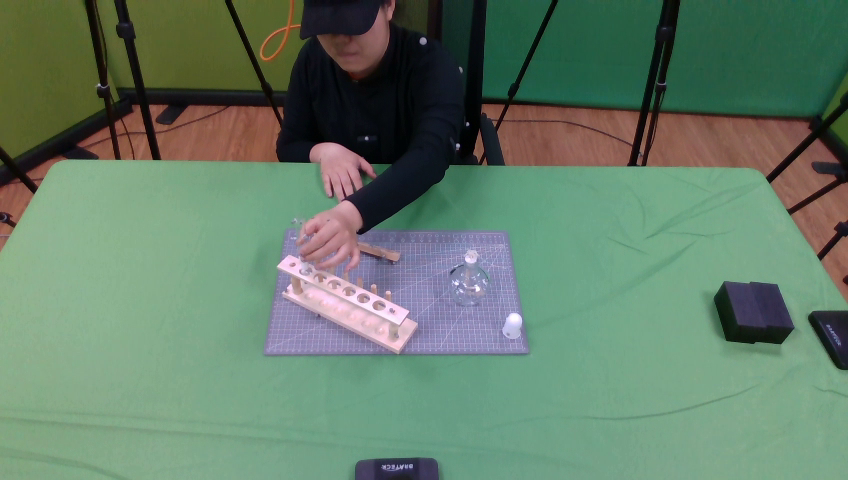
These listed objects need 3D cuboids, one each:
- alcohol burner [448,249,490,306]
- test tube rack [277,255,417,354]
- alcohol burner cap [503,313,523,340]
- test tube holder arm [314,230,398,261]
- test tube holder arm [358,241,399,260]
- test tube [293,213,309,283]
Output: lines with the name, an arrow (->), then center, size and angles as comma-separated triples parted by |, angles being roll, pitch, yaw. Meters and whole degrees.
alcohol burner -> 0.081, 0.062, 1.078 | 0.078, 0.120, 0.077 | 1, 45, -1
test tube rack -> -0.132, 0.099, 1.045 | 0.241, 0.085, 0.066 | 23, 49, 17
alcohol burner cap -> 0.155, 0.147, 1.051 | 0.034, 0.048, 0.033 | 1, 45, -1
test tube holder arm -> -0.134, 0.010, 1.178 | 0.178, 0.015, 0.013 | 16, 19, 14
test tube holder arm -> -0.090, 0.020, 1.173 | 0.087, 0.015, 0.010 | 15, 19, 13
test tube -> -0.200, 0.016, 0.995 | 0.017, 0.151, 0.017 | 3, 44, -2
